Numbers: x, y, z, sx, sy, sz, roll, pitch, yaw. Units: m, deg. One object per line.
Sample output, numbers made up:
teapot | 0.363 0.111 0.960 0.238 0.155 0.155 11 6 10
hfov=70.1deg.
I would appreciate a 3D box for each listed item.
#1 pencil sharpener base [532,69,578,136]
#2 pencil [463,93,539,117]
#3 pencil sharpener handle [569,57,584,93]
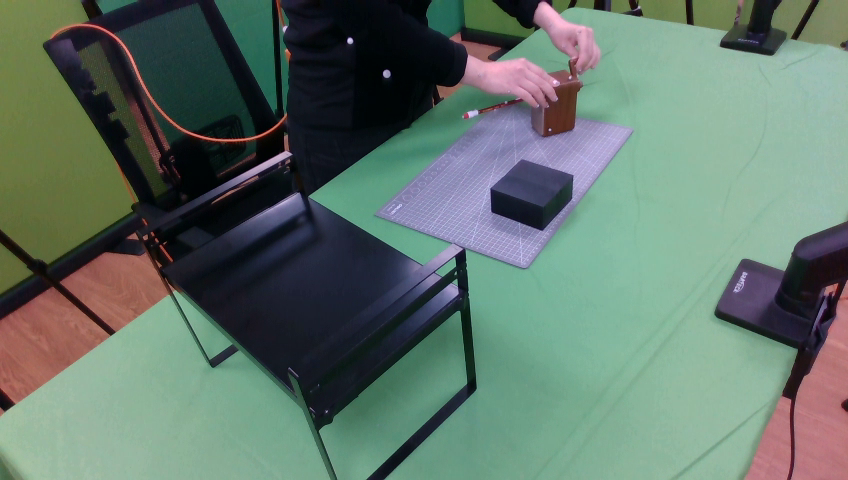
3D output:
pencil sharpener base | 0.256 -0.268 1.179 0.077 0.107 0.061 -15 41 -8
pencil | 0.166 -0.263 1.151 0.194 0.012 0.012 -17 41 -7
pencil sharpener handle | 0.299 -0.317 1.167 0.031 0.068 0.036 -15 7 -8
